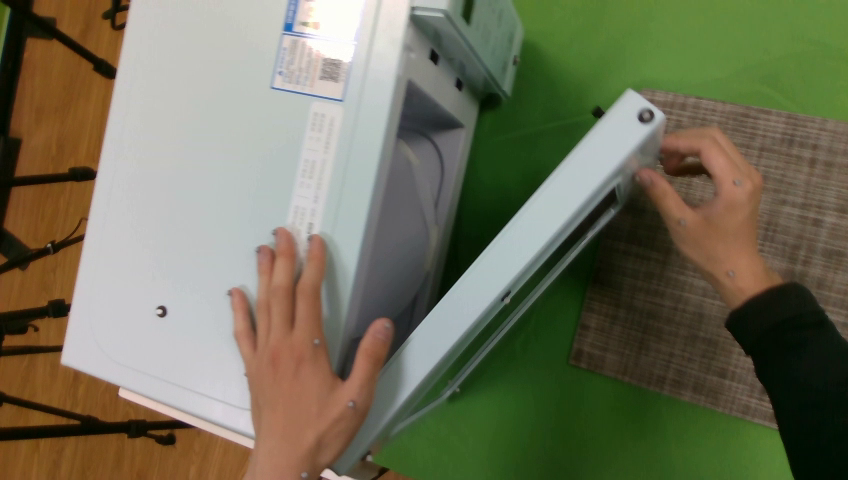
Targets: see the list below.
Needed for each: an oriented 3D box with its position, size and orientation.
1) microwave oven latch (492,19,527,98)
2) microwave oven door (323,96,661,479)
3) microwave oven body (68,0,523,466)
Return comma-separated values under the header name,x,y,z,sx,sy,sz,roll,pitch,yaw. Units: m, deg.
name,x,y,z,sx,sy,sz,roll,pitch,yaw
microwave oven latch,0.090,-0.197,0.653,0.030,0.029,0.079,14,93,19
microwave oven door,0.075,0.048,0.542,0.039,0.245,0.356,42,101,17
microwave oven body,-0.117,-0.060,0.617,0.324,0.261,0.441,13,93,19
